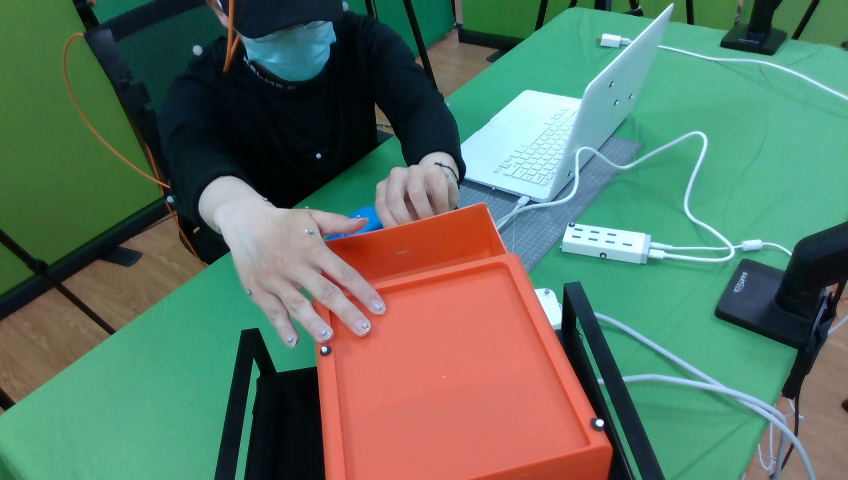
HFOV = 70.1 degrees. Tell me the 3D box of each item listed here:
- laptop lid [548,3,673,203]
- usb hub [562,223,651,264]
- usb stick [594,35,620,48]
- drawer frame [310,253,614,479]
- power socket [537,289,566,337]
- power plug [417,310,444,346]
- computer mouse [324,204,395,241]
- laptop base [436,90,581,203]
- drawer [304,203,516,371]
[{"bbox_3d":[0.320,-0.235,1.026,0.013,0.242,0.357,31,50,20],"label":"laptop lid"},{"bbox_3d":[0.279,0.004,0.926,0.124,0.025,0.049,10,43,19],"label":"usb hub"},{"bbox_3d":[0.443,-0.482,1.466,0.059,0.021,0.027,10,43,10],"label":"usb stick"},{"bbox_3d":[0.018,0.121,0.504,0.202,0.083,0.212,-12,41,-6],"label":"drawer frame"},{"bbox_3d":[0.081,0.111,0.822,0.227,0.033,0.072,-6,41,0],"label":"power socket"},{"bbox_3d":[0.006,0.123,0.785,0.035,0.053,0.072,1,39,8],"label":"power plug"},{"bbox_3d":[-0.107,-0.016,0.993,0.117,0.041,0.062,-36,51,-20],"label":"computer mouse"},{"bbox_3d":[0.214,-0.193,1.172,0.233,0.023,0.355,19,46,32],"label":"laptop base"},{"bbox_3d":[-0.002,0.073,0.564,0.195,0.073,0.210,-13,43,-5],"label":"drawer"}]
